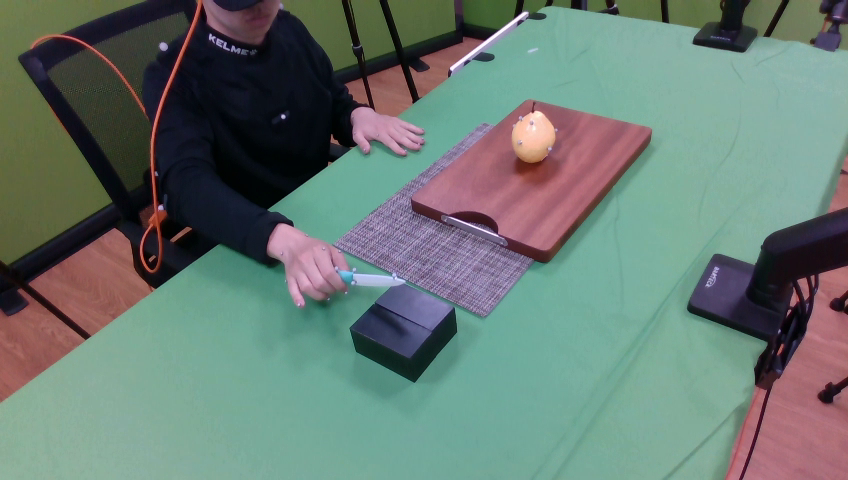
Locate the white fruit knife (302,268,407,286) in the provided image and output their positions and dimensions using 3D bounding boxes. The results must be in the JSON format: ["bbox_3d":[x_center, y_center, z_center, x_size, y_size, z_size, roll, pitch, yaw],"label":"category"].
[{"bbox_3d":[-0.101,0.052,0.835,0.206,0.027,0.016,-1,41,39],"label":"white fruit knife"}]

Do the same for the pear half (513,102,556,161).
[{"bbox_3d":[0.196,-0.198,1.060,0.076,0.110,0.056,13,44,17],"label":"pear half"}]

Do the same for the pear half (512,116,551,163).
[{"bbox_3d":[0.182,-0.169,1.043,0.070,0.088,0.031,12,45,18],"label":"pear half"}]
